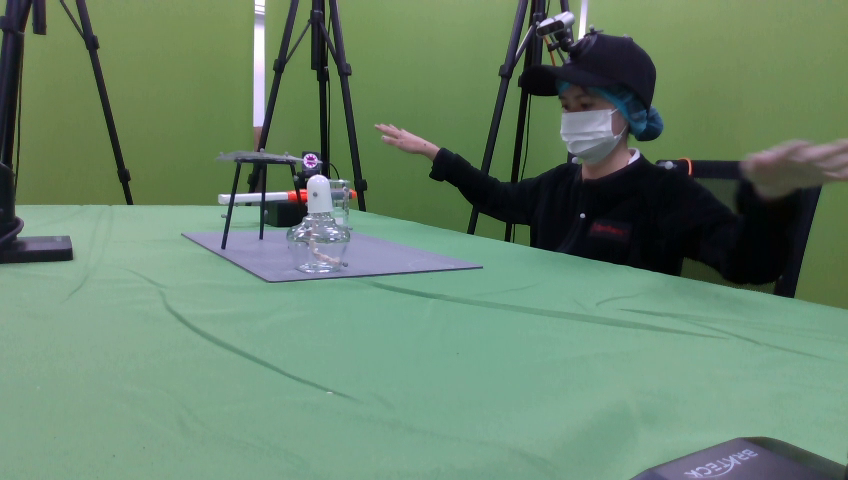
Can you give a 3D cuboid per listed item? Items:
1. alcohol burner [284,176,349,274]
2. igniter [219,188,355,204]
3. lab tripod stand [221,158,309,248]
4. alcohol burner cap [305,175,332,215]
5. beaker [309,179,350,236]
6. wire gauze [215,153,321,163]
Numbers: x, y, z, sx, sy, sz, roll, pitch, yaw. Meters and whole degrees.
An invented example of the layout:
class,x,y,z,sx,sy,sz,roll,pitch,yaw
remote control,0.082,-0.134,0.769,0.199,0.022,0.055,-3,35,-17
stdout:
class,x,y,z,sx,sy,sz,roll,pitch,yaw
alcohol burner,-0.130,-0.019,0.738,0.078,0.119,0.078,4,5,0
igniter,-0.274,-0.090,1.237,0.278,0.025,0.057,-5,11,-30
lab tripod stand,-0.244,-0.057,0.917,0.148,0.131,0.148,1,7,0
alcohol burner cap,-0.130,-0.054,0.733,0.034,0.048,0.034,-4,8,1
beaker,-0.176,-0.060,1.104,0.073,0.100,0.084,8,10,39
wire gauze,-0.235,-0.123,0.906,0.126,0.011,0.121,-2,7,-33
